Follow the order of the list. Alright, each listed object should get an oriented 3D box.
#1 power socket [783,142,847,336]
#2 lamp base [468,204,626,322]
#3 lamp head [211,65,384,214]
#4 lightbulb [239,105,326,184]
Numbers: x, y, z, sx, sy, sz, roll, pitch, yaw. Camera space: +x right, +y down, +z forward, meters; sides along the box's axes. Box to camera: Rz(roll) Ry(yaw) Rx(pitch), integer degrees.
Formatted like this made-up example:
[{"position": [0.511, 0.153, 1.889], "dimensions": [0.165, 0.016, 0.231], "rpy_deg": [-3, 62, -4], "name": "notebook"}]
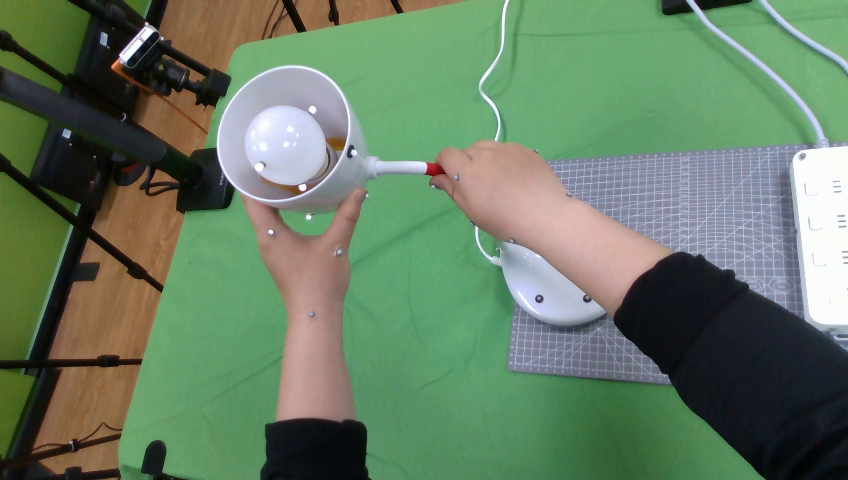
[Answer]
[{"position": [0.445, -0.009, 0.666], "dimensions": [0.072, 0.033, 0.225], "rpy_deg": [-2, 67, 22], "name": "power socket"}, {"position": [0.134, 0.000, 0.712], "dimensions": [0.178, 0.182, 0.159], "rpy_deg": [-7, 65, 24], "name": "lamp base"}, {"position": [-0.096, -0.071, 0.514], "dimensions": [0.112, 0.124, 0.112], "rpy_deg": [-4, 77, 18], "name": "lamp head"}, {"position": [-0.107, -0.071, 0.491], "dimensions": [0.059, 0.108, 0.059], "rpy_deg": [-1, 84, 11], "name": "lightbulb"}]
